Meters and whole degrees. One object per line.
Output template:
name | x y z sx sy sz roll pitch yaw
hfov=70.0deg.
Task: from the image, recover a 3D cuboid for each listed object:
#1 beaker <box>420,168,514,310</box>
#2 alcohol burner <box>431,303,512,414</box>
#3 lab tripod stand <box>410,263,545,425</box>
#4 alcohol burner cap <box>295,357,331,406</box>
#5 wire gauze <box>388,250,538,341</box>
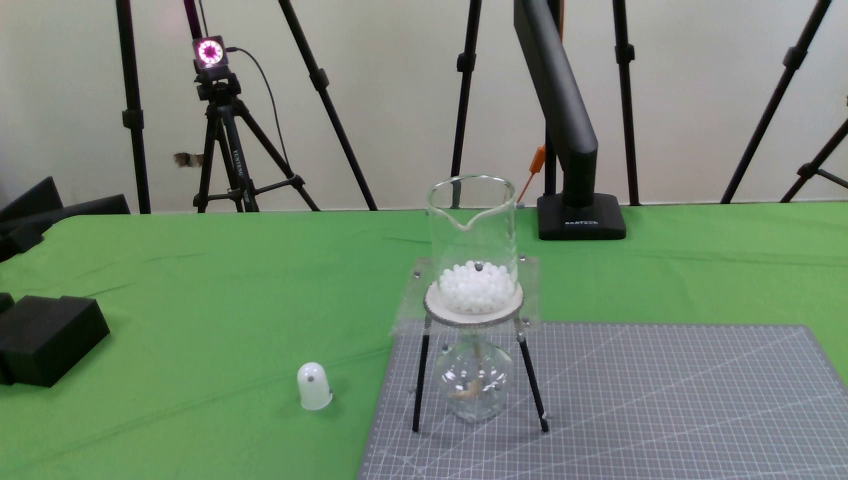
beaker | 0.039 0.002 0.503 0.074 0.101 0.083 -1 31 12
alcohol burner | 0.044 0.106 0.572 0.078 0.120 0.077 -3 33 2
lab tripod stand | 0.045 0.097 0.567 0.148 0.132 0.147 -5 30 3
alcohol burner cap | -0.114 0.141 0.616 0.034 0.048 0.033 -3 33 2
wire gauze | 0.038 0.043 0.530 0.121 0.011 0.124 -2 32 11
